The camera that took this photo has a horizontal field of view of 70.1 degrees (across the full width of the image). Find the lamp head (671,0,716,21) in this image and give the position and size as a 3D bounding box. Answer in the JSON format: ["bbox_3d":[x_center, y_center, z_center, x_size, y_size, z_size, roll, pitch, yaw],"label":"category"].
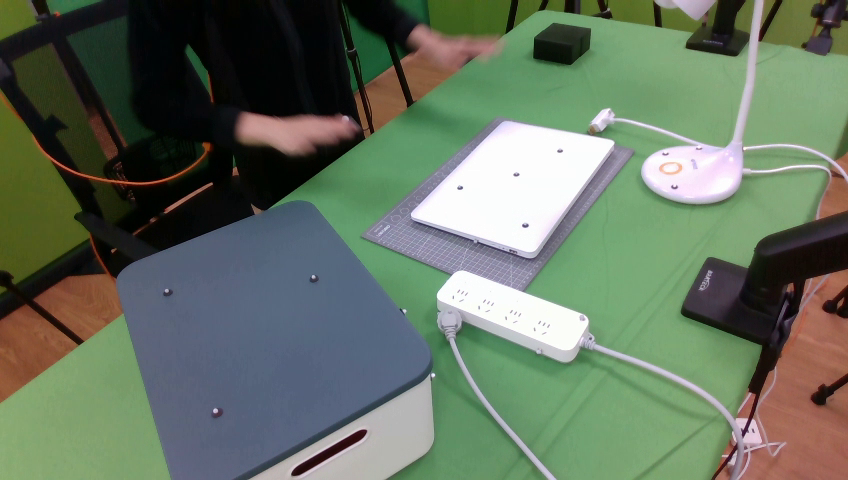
[{"bbox_3d":[0.375,-0.373,0.807,0.122,0.113,0.112,-40,27,32],"label":"lamp head"}]

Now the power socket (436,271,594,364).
[{"bbox_3d":[0.118,0.102,0.830,0.225,0.033,0.072,20,49,28],"label":"power socket"}]

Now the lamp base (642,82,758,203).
[{"bbox_3d":[0.464,-0.174,0.992,0.179,0.181,0.159,-5,41,-1],"label":"lamp base"}]

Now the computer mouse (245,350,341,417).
[{"bbox_3d":[-0.164,0.173,0.754,0.118,0.041,0.062,-18,33,-18],"label":"computer mouse"}]

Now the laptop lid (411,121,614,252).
[{"bbox_3d":[0.164,-0.112,1.068,0.240,0.013,0.357,19,46,30],"label":"laptop lid"}]

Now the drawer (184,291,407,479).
[{"bbox_3d":[-0.155,0.180,0.720,0.195,0.073,0.210,-27,41,-21],"label":"drawer"}]

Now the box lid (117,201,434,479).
[{"bbox_3d":[-0.182,0.087,0.675,0.264,0.015,0.368,-25,42,-20],"label":"box lid"}]

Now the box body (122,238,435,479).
[{"bbox_3d":[-0.175,0.142,0.725,0.255,0.161,0.360,-25,43,-20],"label":"box body"}]

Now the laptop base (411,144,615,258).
[{"bbox_3d":[0.167,-0.102,1.074,0.234,0.023,0.355,17,45,30],"label":"laptop base"}]

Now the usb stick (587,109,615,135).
[{"bbox_3d":[0.344,-0.229,1.184,0.059,0.021,0.027,-47,21,-8],"label":"usb stick"}]

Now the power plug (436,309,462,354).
[{"bbox_3d":[0.031,0.125,0.810,0.035,0.053,0.072,6,58,11],"label":"power plug"}]
